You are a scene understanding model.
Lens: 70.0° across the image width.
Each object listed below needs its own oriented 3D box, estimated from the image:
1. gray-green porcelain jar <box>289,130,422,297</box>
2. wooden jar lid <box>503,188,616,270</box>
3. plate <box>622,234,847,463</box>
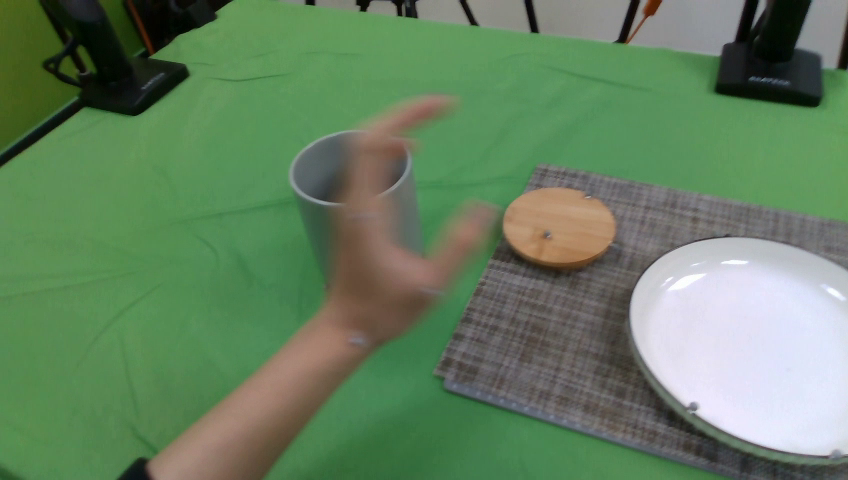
[{"bbox_3d":[-0.057,-0.019,0.556,0.106,0.128,0.105,-3,45,3],"label":"gray-green porcelain jar"},{"bbox_3d":[0.131,-0.010,0.595,0.108,0.021,0.107,-2,45,3],"label":"wooden jar lid"},{"bbox_3d":[0.262,0.080,0.477,0.207,0.039,0.205,-3,45,4],"label":"plate"}]
